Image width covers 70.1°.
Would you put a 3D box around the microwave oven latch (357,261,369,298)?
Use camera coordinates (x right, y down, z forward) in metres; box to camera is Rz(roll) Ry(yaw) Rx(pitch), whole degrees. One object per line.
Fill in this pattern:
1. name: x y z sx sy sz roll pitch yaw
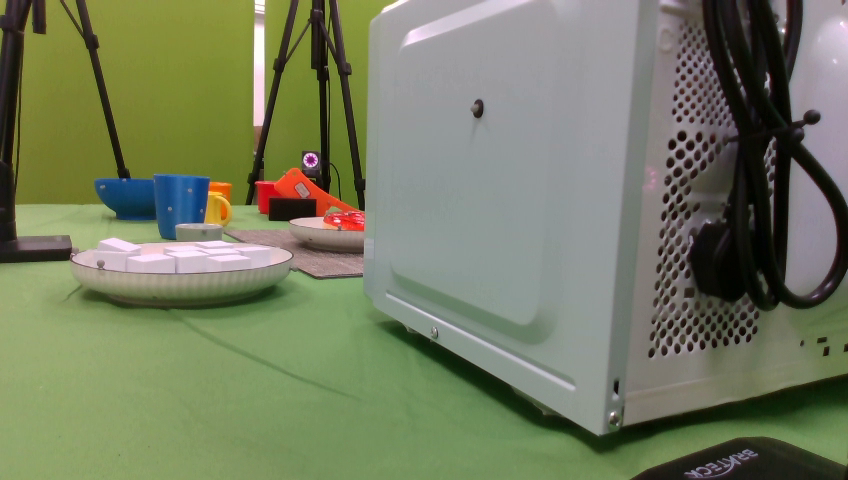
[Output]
1. microwave oven latch: -0.019 0.033 0.530 0.079 0.029 0.030 -1 7 -26

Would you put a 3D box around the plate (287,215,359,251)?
1. plate: -0.111 -0.012 0.960 0.209 0.038 0.209 3 8 0

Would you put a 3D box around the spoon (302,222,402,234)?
1. spoon: -0.127 -0.024 1.105 0.195 0.021 0.041 -3 -15 -31

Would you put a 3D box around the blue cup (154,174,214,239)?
1. blue cup: -0.391 -0.053 0.978 0.093 0.100 0.092 3 6 0

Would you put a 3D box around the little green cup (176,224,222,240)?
1. little green cup: -0.312 -0.001 0.842 0.061 0.038 0.061 2 8 0

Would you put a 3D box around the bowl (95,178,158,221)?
1. bowl: -0.576 -0.081 1.217 0.151 0.077 0.151 3 8 0

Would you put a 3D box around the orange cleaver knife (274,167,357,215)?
1. orange cleaver knife: -0.238 -0.091 1.381 0.212 0.077 0.012 31 2 -19

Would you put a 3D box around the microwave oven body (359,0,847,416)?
1. microwave oven body: 0.211 -0.047 0.474 0.444 0.260 0.324 -1 7 -28

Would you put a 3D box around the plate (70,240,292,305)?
1. plate: -0.242 0.031 0.618 0.208 0.039 0.207 2 8 0

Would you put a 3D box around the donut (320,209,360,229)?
1. donut: -0.115 -0.023 0.961 0.099 0.048 0.099 5 9 0

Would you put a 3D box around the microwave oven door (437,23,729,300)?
1. microwave oven door: 0.181 -0.072 0.621 0.358 0.243 0.039 -2 9 -29

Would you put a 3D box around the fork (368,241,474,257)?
1. fork: 0.004 0.012 0.885 0.208 0.018 0.028 -6 -3 -45

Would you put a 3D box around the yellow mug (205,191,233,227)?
1. yellow mug: -0.415 -0.057 1.132 0.130 0.064 0.100 6 8 16
